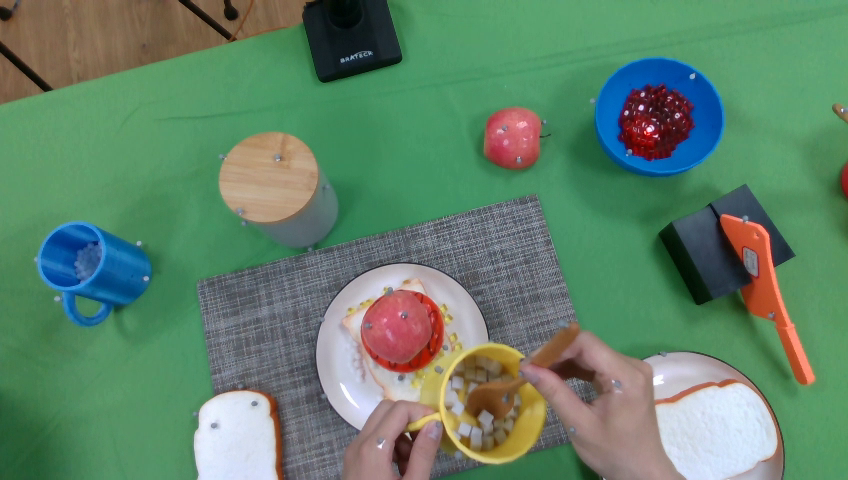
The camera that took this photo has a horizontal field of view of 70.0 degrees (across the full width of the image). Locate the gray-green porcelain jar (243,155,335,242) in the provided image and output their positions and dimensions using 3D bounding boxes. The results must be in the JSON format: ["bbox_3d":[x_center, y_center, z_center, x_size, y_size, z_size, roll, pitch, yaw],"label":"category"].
[{"bbox_3d":[-0.167,-0.058,0.732,0.106,0.127,0.105,-1,76,3],"label":"gray-green porcelain jar"}]

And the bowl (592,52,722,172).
[{"bbox_3d":[0.277,-0.146,0.752,0.151,0.077,0.150,-1,77,3],"label":"bowl"}]

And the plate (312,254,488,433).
[{"bbox_3d":[-0.028,0.121,0.723,0.207,0.039,0.206,-1,77,3],"label":"plate"}]

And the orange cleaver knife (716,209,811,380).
[{"bbox_3d":[0.387,0.061,0.695,0.012,0.077,0.212,-25,98,-10],"label":"orange cleaver knife"}]

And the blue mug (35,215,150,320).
[{"bbox_3d":[-0.399,0.039,0.731,0.082,0.106,0.116,6,77,5],"label":"blue mug"}]

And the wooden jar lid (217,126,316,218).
[{"bbox_3d":[-0.172,-0.074,0.670,0.108,0.021,0.108,0,74,2],"label":"wooden jar lid"}]

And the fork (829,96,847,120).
[{"bbox_3d":[0.514,-0.112,0.694,0.209,0.018,0.028,26,74,-33],"label":"fork"}]

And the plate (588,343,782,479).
[{"bbox_3d":[0.289,0.223,0.684,0.209,0.038,0.208,-1,76,3],"label":"plate"}]

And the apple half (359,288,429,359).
[{"bbox_3d":[-0.034,0.090,0.664,0.081,0.033,0.081,-3,73,10],"label":"apple half"}]

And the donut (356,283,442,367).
[{"bbox_3d":[-0.029,0.098,0.699,0.099,0.048,0.098,-1,77,3],"label":"donut"}]

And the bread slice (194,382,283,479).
[{"bbox_3d":[-0.223,0.236,0.717,0.105,0.019,0.131,-7,77,0],"label":"bread slice"}]

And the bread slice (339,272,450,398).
[{"bbox_3d":[-0.023,0.118,0.724,0.107,0.018,0.133,-31,77,-4],"label":"bread slice"}]

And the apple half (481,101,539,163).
[{"bbox_3d":[0.111,-0.144,0.774,0.074,0.053,0.080,7,77,8],"label":"apple half"}]

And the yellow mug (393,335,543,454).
[{"bbox_3d":[0.035,0.143,0.544,0.131,0.064,0.099,-15,82,-19],"label":"yellow mug"}]

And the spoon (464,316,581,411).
[{"bbox_3d":[0.078,0.105,0.490,0.042,0.194,0.021,25,58,-3],"label":"spoon"}]
